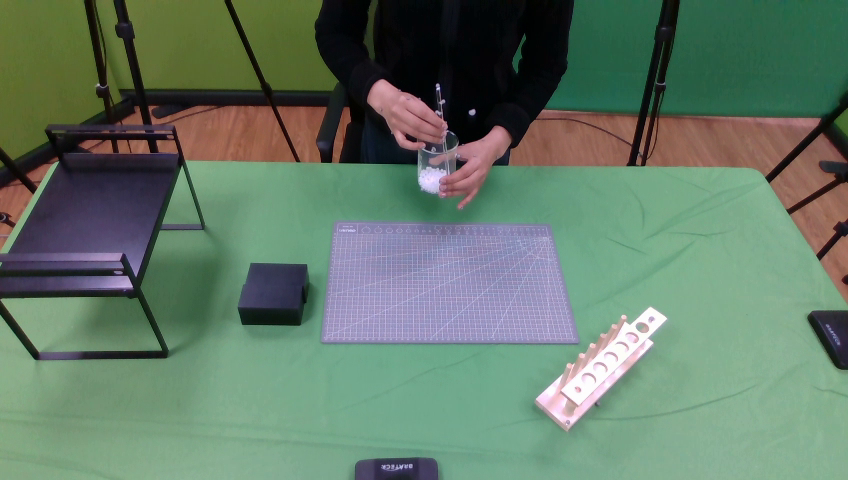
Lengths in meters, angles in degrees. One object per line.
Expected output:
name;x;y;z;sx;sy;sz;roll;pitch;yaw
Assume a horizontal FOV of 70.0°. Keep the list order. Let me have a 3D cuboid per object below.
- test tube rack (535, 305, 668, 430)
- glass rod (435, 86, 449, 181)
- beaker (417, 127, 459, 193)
test tube rack;0.290;0.193;0.984;0.242;0.085;0.066;-32;57;-30
glass rod;0.032;-0.179;1.044;0.008;0.201;0.008;-4;47;5
beaker;0.024;-0.144;1.093;0.074;0.101;0.083;3;45;2
